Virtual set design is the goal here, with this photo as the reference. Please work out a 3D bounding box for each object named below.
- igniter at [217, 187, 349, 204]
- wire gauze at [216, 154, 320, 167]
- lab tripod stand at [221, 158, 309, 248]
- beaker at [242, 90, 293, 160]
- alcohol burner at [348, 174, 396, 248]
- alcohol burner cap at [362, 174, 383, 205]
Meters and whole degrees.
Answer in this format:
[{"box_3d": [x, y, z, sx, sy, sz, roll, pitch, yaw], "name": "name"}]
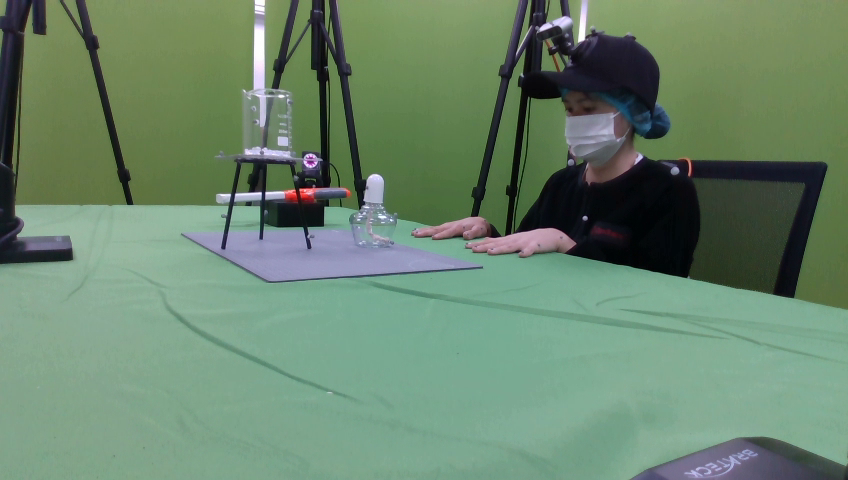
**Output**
[{"box_3d": [-0.285, -0.093, 1.256, 0.278, 0.025, 0.057, -6, 12, -34], "name": "igniter"}, {"box_3d": [-0.236, -0.121, 0.906, 0.126, 0.011, 0.121, 0, 8, -33], "name": "wire gauze"}, {"box_3d": [-0.244, -0.057, 0.917, 0.148, 0.131, 0.148, 1, 7, 0], "name": "lab tripod stand"}, {"box_3d": [-0.235, -0.169, 0.899, 0.074, 0.100, 0.084, 4, 7, 23], "name": "beaker"}, {"box_3d": [-0.083, -0.046, 0.973, 0.078, 0.119, 0.078, 4, 6, 0], "name": "alcohol burner"}, {"box_3d": [-0.081, -0.082, 0.969, 0.034, 0.048, 0.034, 7, 8, -1], "name": "alcohol burner cap"}]
